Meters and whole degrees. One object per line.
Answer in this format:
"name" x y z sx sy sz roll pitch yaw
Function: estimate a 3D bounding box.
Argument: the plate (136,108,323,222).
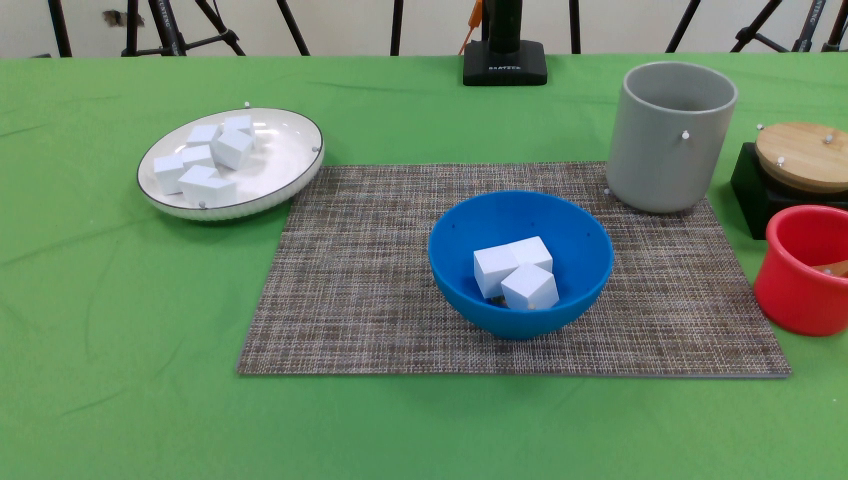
"plate" -0.219 -0.086 0.700 0.209 0.038 0.207 -2 42 2

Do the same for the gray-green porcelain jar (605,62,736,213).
"gray-green porcelain jar" 0.244 -0.100 0.619 0.106 0.127 0.105 -2 42 2

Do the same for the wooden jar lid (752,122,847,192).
"wooden jar lid" 0.383 -0.082 0.601 0.108 0.021 0.107 -2 41 2

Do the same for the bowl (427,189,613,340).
"bowl" 0.078 0.032 0.518 0.151 0.077 0.150 -1 42 2

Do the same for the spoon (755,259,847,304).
"spoon" 0.364 0.012 0.479 0.022 0.193 0.041 44 44 -17
